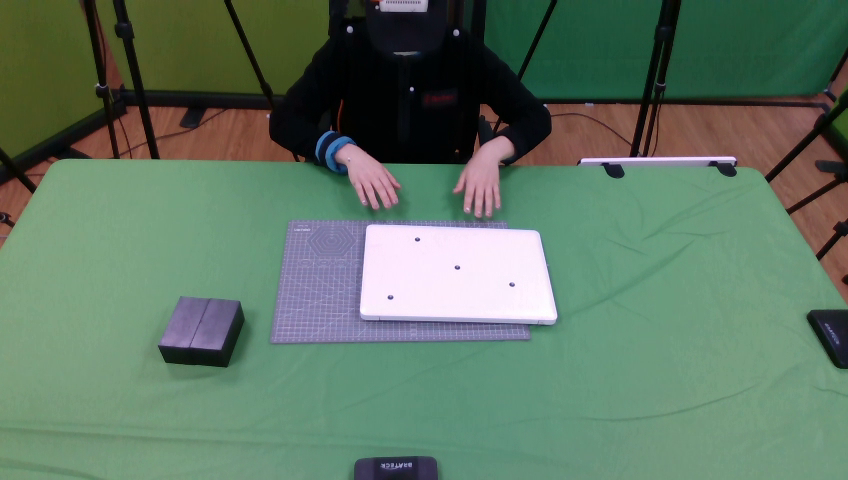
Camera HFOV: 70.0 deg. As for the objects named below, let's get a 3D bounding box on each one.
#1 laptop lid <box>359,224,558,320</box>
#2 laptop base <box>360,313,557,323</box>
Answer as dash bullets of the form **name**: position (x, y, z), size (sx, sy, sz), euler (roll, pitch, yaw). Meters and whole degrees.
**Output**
- **laptop lid**: position (0.061, 0.053, 1.137), size (0.357, 0.013, 0.240), euler (3, 44, -2)
- **laptop base**: position (0.061, 0.063, 1.144), size (0.354, 0.023, 0.234), euler (2, 43, -3)
